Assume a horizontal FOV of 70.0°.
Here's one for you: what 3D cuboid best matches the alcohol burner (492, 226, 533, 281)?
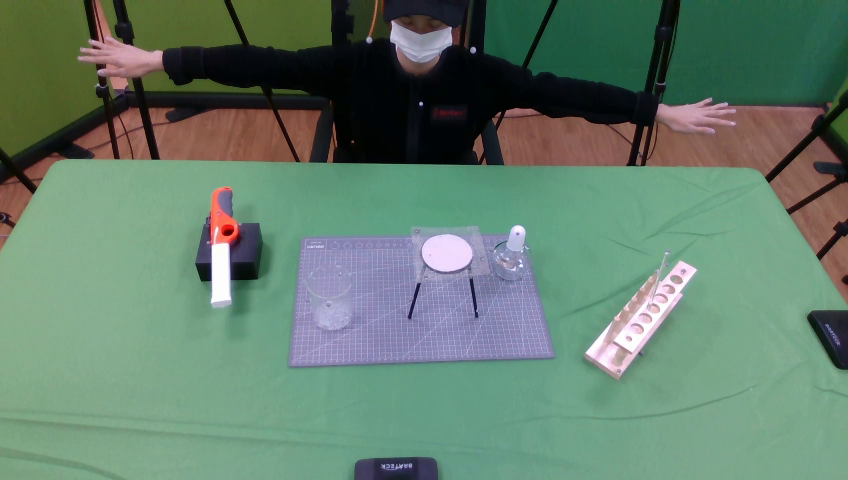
[{"bbox_3d":[0.166,0.020,1.125,0.078,0.120,0.077,1,46,-1],"label":"alcohol burner"}]

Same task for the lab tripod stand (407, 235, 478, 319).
[{"bbox_3d":[0.032,0.065,1.057,0.148,0.132,0.147,1,45,-1],"label":"lab tripod stand"}]

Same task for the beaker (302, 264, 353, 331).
[{"bbox_3d":[-0.162,0.101,1.030,0.084,0.101,0.073,4,46,0],"label":"beaker"}]

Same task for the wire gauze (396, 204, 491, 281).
[{"bbox_3d":[0.032,0.004,0.999,0.125,0.011,0.120,-22,54,-14],"label":"wire gauze"}]

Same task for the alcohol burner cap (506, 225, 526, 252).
[{"bbox_3d":[0.169,-0.005,1.099,0.034,0.048,0.033,3,42,-3],"label":"alcohol burner cap"}]

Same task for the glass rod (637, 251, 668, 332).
[{"bbox_3d":[0.378,0.090,1.005,0.008,0.201,0.008,-1,44,1],"label":"glass rod"}]

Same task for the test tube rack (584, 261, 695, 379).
[{"bbox_3d":[0.380,0.127,1.062,0.066,0.085,0.242,34,53,26],"label":"test tube rack"}]

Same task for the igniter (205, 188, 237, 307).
[{"bbox_3d":[-0.367,0.004,1.097,0.057,0.025,0.274,-7,50,-11],"label":"igniter"}]
